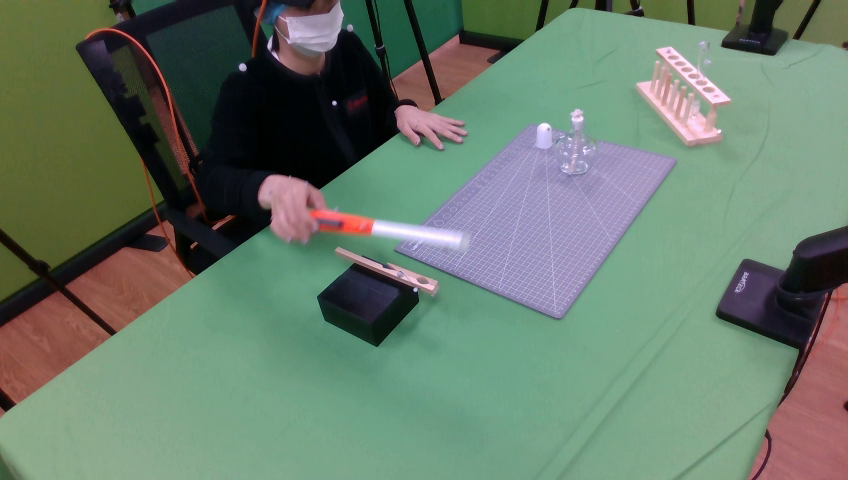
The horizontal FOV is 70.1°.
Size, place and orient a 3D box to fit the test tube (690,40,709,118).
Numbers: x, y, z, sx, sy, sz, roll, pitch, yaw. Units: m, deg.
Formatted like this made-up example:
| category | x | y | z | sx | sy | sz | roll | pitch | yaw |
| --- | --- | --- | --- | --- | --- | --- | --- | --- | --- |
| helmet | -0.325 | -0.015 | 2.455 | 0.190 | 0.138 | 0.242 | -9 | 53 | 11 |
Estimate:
| category | x | y | z | sx | sy | sz | roll | pitch | yaw |
| --- | --- | --- | --- | --- | --- | --- | --- | --- | --- |
| test tube | 0.510 | -0.295 | 1.120 | 0.017 | 0.151 | 0.017 | -6 | 39 | 6 |

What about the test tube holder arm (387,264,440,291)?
| category | x | y | z | sx | sy | sz | roll | pitch | yaw |
| --- | --- | --- | --- | --- | --- | --- | --- | --- | --- |
| test tube holder arm | -0.017 | 0.052 | 0.842 | 0.087 | 0.015 | 0.010 | 18 | 55 | 29 |

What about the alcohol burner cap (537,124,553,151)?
| category | x | y | z | sx | sy | sz | roll | pitch | yaw |
| --- | --- | --- | --- | --- | --- | --- | --- | --- | --- |
| alcohol burner cap | 0.231 | -0.199 | 1.158 | 0.034 | 0.048 | 0.033 | -5 | 40 | 5 |

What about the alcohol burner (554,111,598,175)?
| category | x | y | z | sx | sy | sz | roll | pitch | yaw |
| --- | --- | --- | --- | --- | --- | --- | --- | --- | --- |
| alcohol burner | 0.270 | -0.175 | 1.066 | 0.078 | 0.119 | 0.077 | -4 | 42 | 4 |

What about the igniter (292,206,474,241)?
| category | x | y | z | sx | sy | sz | roll | pitch | yaw |
| --- | --- | --- | --- | --- | --- | --- | --- | --- | --- |
| igniter | -0.066 | -0.022 | 0.797 | 0.275 | 0.025 | 0.057 | 7 | -2 | 27 |

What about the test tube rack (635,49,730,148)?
| category | x | y | z | sx | sy | sz | roll | pitch | yaw |
| --- | --- | --- | --- | --- | --- | --- | --- | --- | --- |
| test tube rack | 0.497 | -0.283 | 1.185 | 0.067 | 0.085 | 0.240 | -10 | 40 | -2 |

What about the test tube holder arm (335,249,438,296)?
| category | x | y | z | sx | sy | sz | roll | pitch | yaw |
| --- | --- | --- | --- | --- | --- | --- | --- | --- | --- |
| test tube holder arm | -0.057 | 0.044 | 0.861 | 0.177 | 0.015 | 0.013 | 18 | 55 | 28 |
